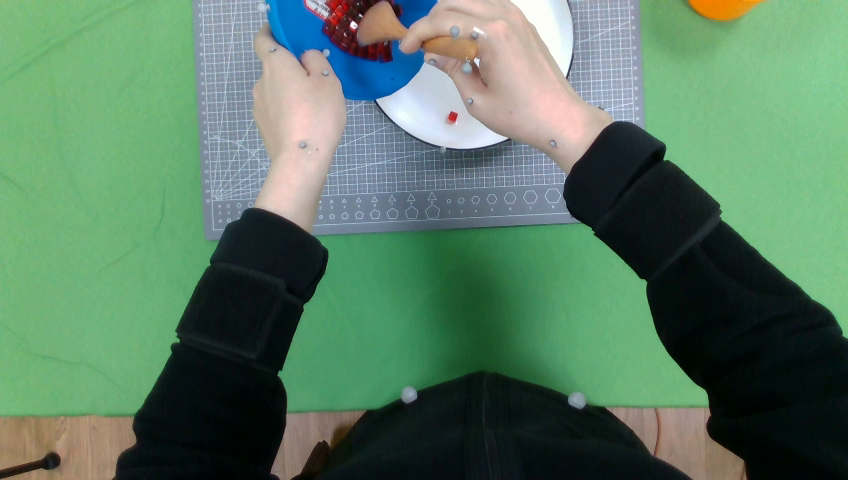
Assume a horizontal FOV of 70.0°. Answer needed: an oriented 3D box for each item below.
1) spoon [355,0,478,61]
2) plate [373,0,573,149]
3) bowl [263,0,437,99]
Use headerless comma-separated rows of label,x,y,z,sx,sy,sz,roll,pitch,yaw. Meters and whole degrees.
spoon,-0.009,-0.149,0.437,0.022,0.191,0.041,29,97,-38
plate,0.039,-0.192,0.593,0.209,0.038,0.209,0,91,3
bowl,-0.072,-0.195,0.502,0.152,0.076,0.152,-13,112,-35
